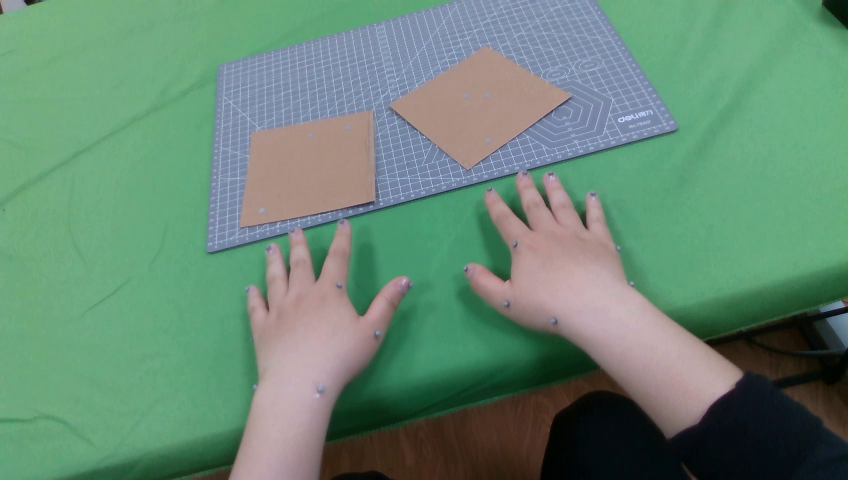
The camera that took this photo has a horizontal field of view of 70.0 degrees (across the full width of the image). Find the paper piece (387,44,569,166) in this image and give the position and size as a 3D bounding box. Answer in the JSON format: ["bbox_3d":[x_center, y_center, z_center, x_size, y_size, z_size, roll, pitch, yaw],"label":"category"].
[{"bbox_3d":[0.052,-0.144,0.619,0.135,0.004,0.134,-36,54,-14],"label":"paper piece"}]

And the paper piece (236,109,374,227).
[{"bbox_3d":[-0.117,-0.077,0.609,0.138,0.009,0.134,-10,49,6],"label":"paper piece"}]
